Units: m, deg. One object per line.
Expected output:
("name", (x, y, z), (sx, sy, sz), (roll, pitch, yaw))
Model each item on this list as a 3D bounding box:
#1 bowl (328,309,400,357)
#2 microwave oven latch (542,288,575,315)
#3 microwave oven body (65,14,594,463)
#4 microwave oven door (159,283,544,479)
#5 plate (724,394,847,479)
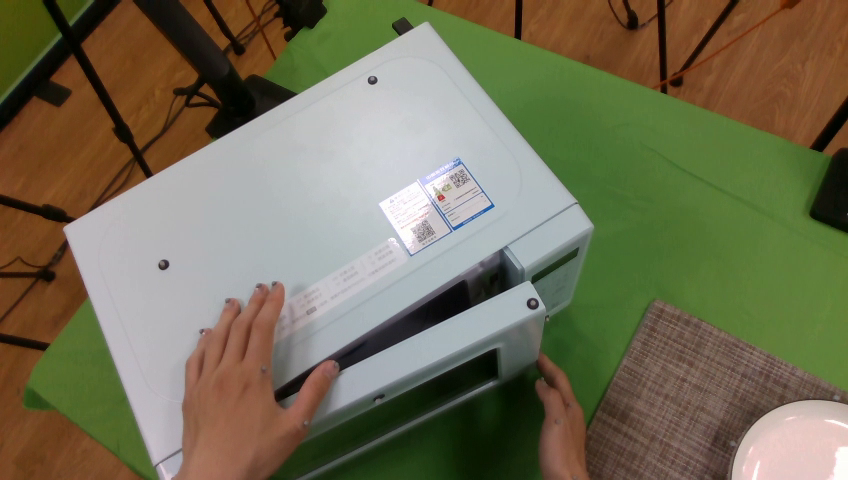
("bowl", (-0.092, 0.073, 0.711), (0.151, 0.077, 0.150), (-3, 63, 7))
("microwave oven latch", (0.146, 0.075, 0.744), (0.079, 0.030, 0.030), (-30, 67, -5))
("microwave oven body", (-0.094, 0.018, 0.694), (0.442, 0.262, 0.323), (-32, 67, -6))
("microwave oven door", (-0.046, 0.165, 0.621), (0.356, 0.246, 0.039), (-26, 66, -3))
("plate", (0.424, 0.271, 0.641), (0.207, 0.039, 0.206), (-3, 67, 6))
